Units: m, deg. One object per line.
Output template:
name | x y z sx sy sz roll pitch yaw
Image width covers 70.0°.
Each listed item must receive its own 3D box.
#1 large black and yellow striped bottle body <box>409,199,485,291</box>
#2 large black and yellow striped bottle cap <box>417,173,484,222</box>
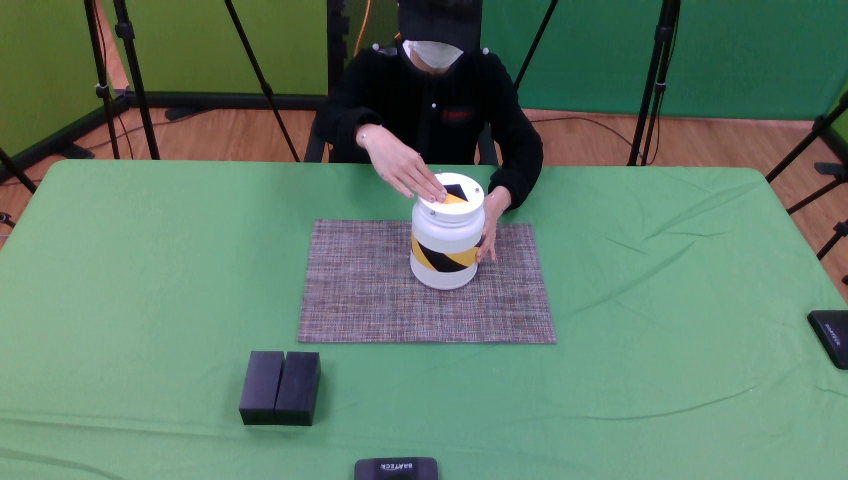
large black and yellow striped bottle body | 0.040 -0.012 1.096 0.131 0.185 0.130 2 46 -2
large black and yellow striped bottle cap | 0.045 -0.074 1.034 0.115 0.019 0.114 2 43 -2
